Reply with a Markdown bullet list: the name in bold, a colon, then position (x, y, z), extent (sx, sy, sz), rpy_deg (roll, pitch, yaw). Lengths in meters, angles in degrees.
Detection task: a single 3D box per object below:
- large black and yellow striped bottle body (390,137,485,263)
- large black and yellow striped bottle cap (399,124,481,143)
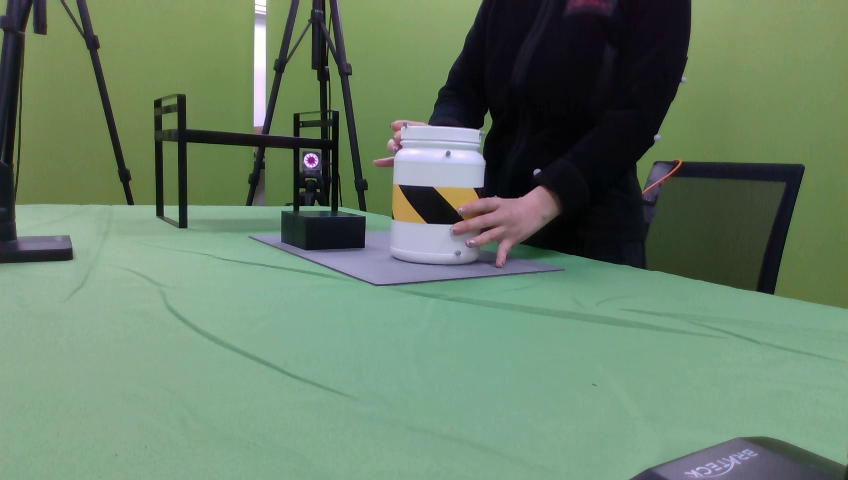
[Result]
- **large black and yellow striped bottle body**: position (0.020, -0.066, 0.859), extent (0.131, 0.184, 0.130), rpy_deg (2, 7, 0)
- **large black and yellow striped bottle cap**: position (0.023, -0.149, 0.849), extent (0.115, 0.019, 0.115), rpy_deg (3, 8, 0)
